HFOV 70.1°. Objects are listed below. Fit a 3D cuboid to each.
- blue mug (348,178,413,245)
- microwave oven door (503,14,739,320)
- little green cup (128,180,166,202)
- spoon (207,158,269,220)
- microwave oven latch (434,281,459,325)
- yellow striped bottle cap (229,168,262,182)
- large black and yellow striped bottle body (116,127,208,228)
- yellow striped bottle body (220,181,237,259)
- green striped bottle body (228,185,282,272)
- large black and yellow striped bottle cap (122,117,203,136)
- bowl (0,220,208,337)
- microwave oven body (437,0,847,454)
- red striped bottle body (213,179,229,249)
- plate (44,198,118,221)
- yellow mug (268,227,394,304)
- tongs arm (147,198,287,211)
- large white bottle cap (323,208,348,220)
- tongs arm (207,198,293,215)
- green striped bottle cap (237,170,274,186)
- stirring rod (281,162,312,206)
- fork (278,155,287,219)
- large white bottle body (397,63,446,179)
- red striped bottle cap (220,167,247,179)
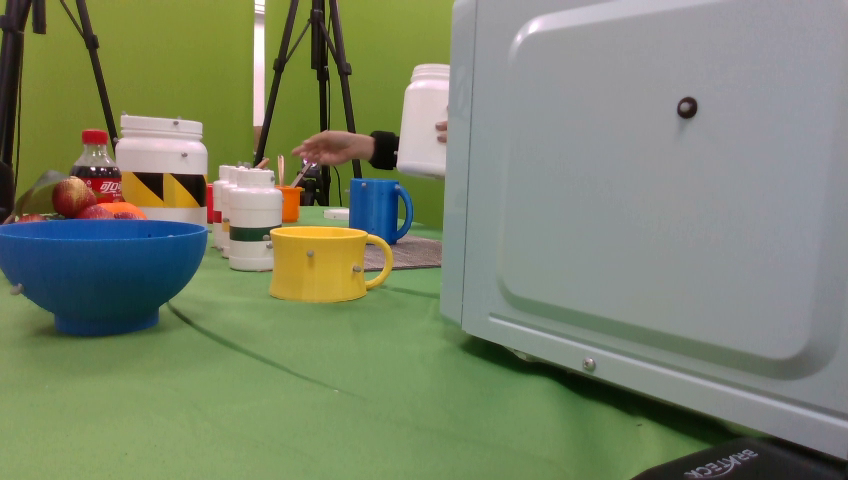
[{"bbox_3d":[-0.071,-0.047,1.002,0.116,0.106,0.082,7,9,26],"label":"blue mug"},{"bbox_3d":[0.217,-0.065,0.600,0.358,0.243,0.039,-4,10,-41],"label":"microwave oven door"},{"bbox_3d":[-0.485,-0.087,1.062,0.061,0.038,0.061,-1,6,0],"label":"little green cup"},{"bbox_3d":[-0.380,-0.108,1.251,0.041,0.022,0.194,4,51,38],"label":"spoon"},{"bbox_3d":[0.044,0.045,0.470,0.079,0.029,0.030,-2,8,-39],"label":"microwave oven latch"},{"bbox_3d":[-0.241,-0.087,0.816,0.044,0.018,0.044,-2,4,0],"label":"yellow striped bottle cap"},{"bbox_3d":[-0.404,-0.089,0.937,0.131,0.184,0.130,3,7,0],"label":"large black and yellow striped bottle body"},{"bbox_3d":[-0.244,-0.036,0.823,0.063,0.120,0.063,2,9,0],"label":"yellow striped bottle body"},{"bbox_3d":[-0.208,-0.024,0.745,0.063,0.119,0.063,2,7,0],"label":"green striped bottle body"},{"bbox_3d":[-0.399,-0.174,0.927,0.115,0.019,0.115,5,9,-1],"label":"large black and yellow striped bottle cap"},{"bbox_3d":[-0.251,0.029,0.479,0.151,0.077,0.151,2,7,0],"label":"bowl"},{"bbox_3d":[0.279,-0.040,0.464,0.444,0.260,0.324,-3,9,-41],"label":"microwave oven body"},{"bbox_3d":[-0.284,-0.048,0.909,0.063,0.119,0.063,3,10,0],"label":"red striped bottle body"},{"bbox_3d":[-0.617,-0.056,1.179,0.209,0.038,0.209,3,7,0],"label":"plate"},{"bbox_3d":[-0.094,0.023,0.630,0.131,0.064,0.099,0,8,-22],"label":"yellow mug"},{"bbox_3d":[-0.504,-0.091,1.513,0.028,0.028,0.389,-1,4,37],"label":"tongs arm"},{"bbox_3d":[-0.184,-0.062,1.450,0.115,0.018,0.115,3,8,0],"label":"large white bottle cap"},{"bbox_3d":[-0.423,-0.084,1.472,0.050,0.026,0.386,2,6,21],"label":"tongs arm"},{"bbox_3d":[-0.205,-0.075,0.737,0.044,0.020,0.044,1,6,0],"label":"green striped bottle cap"},{"bbox_3d":[-0.291,-0.111,1.324,0.014,0.006,0.176,3,48,28],"label":"stirring rod"},{"bbox_3d":[-0.318,-0.120,1.342,0.028,0.018,0.206,0,52,-13],"label":"fork"},{"bbox_3d":[0.026,-0.203,1.054,0.131,0.184,0.130,7,2,0],"label":"large white bottle body"},{"bbox_3d":[-0.281,-0.099,0.901,0.044,0.017,0.044,-1,4,0],"label":"red striped bottle cap"}]
